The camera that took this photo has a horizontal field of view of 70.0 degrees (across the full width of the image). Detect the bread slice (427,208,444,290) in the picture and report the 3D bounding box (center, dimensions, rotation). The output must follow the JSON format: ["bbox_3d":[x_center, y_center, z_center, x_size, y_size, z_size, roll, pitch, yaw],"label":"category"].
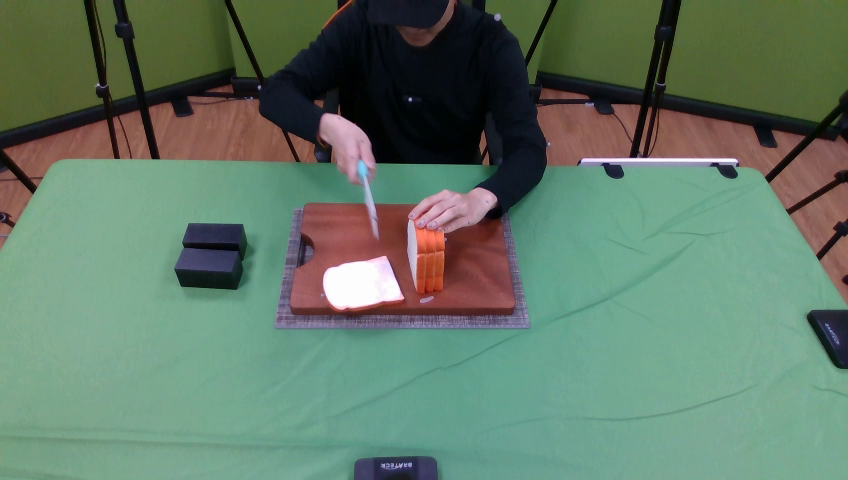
[{"bbox_3d":[0.020,0.011,1.069,0.018,0.135,0.106,-2,52,-6],"label":"bread slice"}]

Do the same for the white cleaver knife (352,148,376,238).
[{"bbox_3d":[-0.105,-0.088,1.047,0.021,0.066,0.284,-6,29,-7],"label":"white cleaver knife"}]

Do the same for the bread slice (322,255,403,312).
[{"bbox_3d":[-0.114,0.079,1.068,0.132,0.019,0.104,-10,51,-18],"label":"bread slice"}]
